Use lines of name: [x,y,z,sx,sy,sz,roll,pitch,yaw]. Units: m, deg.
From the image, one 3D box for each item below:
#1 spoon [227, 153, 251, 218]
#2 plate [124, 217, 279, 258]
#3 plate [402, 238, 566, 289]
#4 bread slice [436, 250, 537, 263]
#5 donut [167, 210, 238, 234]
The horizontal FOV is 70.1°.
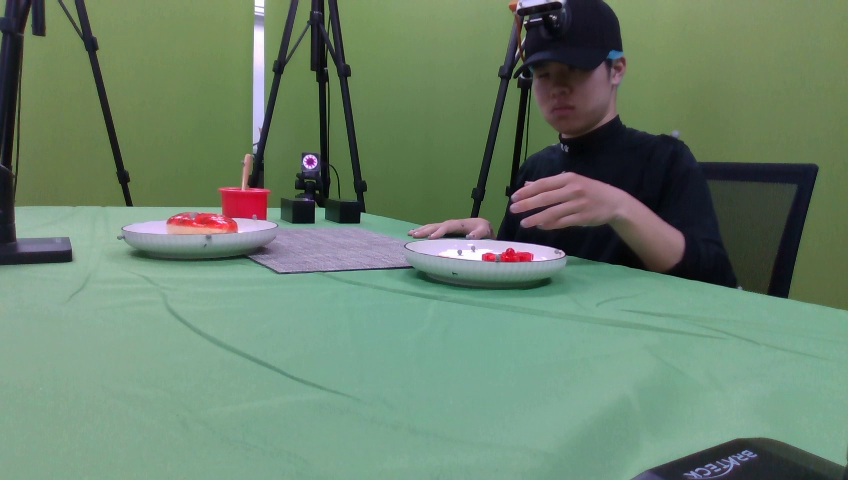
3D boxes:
spoon: [-0.363,-0.107,1.211,0.042,0.021,0.193,-1,47,-7]
plate: [-0.315,-0.004,0.870,0.208,0.039,0.207,1,8,0]
plate: [0.074,0.029,0.772,0.209,0.038,0.209,3,7,0]
bread slice: [0.077,0.031,0.774,0.105,0.019,0.131,-4,11,-44]
donut: [-0.321,-0.017,0.882,0.099,0.048,0.099,3,6,0]
